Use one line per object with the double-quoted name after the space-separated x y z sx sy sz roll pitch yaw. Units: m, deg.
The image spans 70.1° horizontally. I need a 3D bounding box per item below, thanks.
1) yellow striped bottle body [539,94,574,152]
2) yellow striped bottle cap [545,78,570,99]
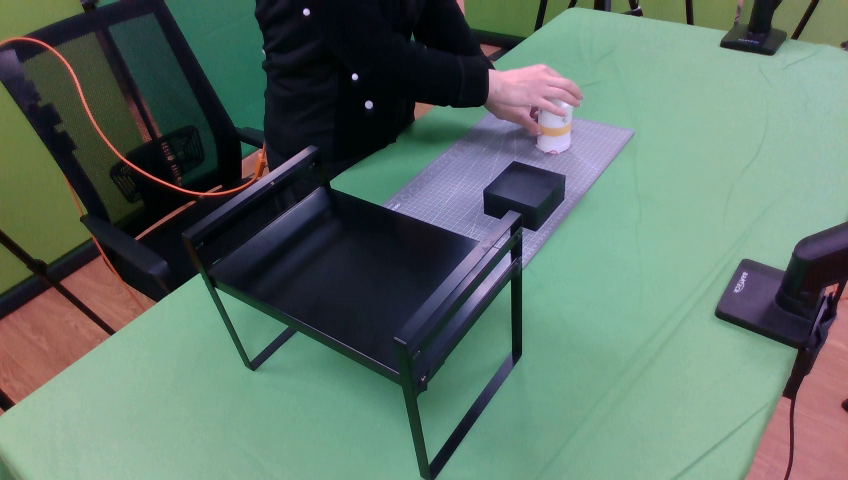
0.246 -0.230 1.127 0.063 0.121 0.062 -5 41 4 "yellow striped bottle body"
0.240 -0.274 1.089 0.044 0.019 0.044 -5 44 5 "yellow striped bottle cap"
